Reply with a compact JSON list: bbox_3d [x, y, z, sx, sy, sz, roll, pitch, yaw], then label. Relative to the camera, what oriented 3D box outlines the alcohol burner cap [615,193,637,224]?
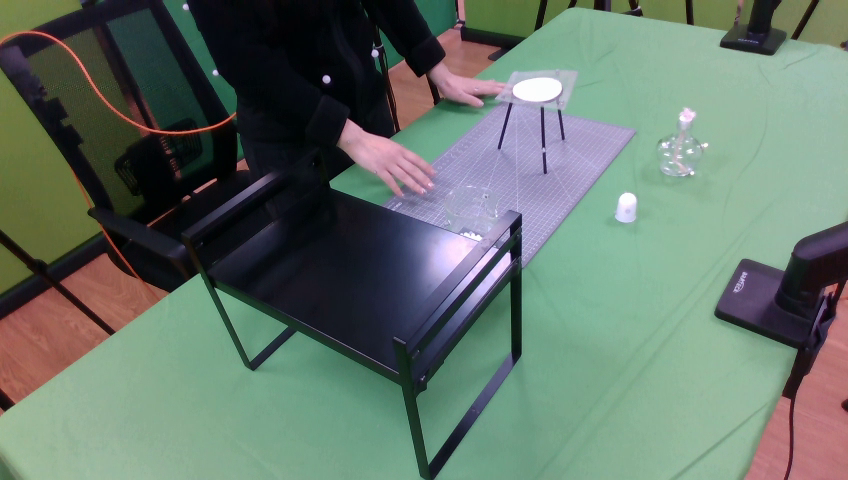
[{"bbox_3d":[0.327,-0.054,0.974,0.034,0.048,0.033,-4,38,4],"label":"alcohol burner cap"}]

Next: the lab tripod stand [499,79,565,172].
[{"bbox_3d":[0.204,-0.216,1.107,0.148,0.132,0.147,-6,41,5],"label":"lab tripod stand"}]

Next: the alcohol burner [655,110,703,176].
[{"bbox_3d":[0.440,-0.170,1.037,0.078,0.119,0.077,-3,40,3],"label":"alcohol burner"}]

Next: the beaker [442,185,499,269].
[{"bbox_3d":[0.071,-0.015,0.844,0.074,0.101,0.083,-35,48,-29],"label":"beaker"}]

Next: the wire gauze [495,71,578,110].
[{"bbox_3d":[0.199,-0.268,1.065,0.124,0.011,0.121,10,44,22],"label":"wire gauze"}]
